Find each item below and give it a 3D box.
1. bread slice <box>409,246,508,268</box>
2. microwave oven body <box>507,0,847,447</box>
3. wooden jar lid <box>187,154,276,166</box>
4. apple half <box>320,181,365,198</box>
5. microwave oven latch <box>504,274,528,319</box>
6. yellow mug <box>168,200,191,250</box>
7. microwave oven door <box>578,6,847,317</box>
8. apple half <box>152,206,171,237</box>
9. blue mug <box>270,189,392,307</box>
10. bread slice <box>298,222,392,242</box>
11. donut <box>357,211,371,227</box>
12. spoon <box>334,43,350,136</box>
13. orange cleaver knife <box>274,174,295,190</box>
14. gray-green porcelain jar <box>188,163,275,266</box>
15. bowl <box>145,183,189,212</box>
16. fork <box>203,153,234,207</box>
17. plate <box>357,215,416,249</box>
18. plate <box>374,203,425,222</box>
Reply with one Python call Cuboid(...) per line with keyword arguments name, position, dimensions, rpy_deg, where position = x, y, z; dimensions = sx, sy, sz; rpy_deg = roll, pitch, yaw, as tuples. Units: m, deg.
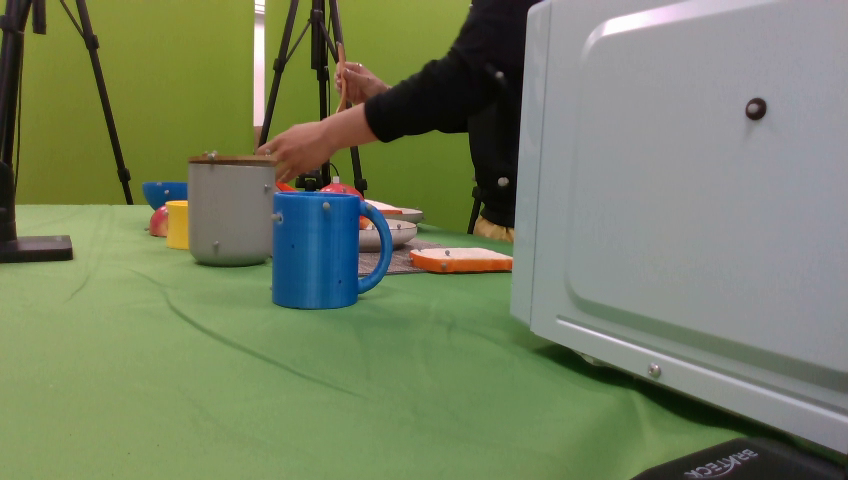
Cuboid(name="bread slice", position=(0.048, 0.021, 0.816), dimensions=(0.132, 0.019, 0.104), rpy_deg=(0, 6, -24))
Cuboid(name="microwave oven body", position=(0.331, -0.042, 0.425), dimensions=(0.444, 0.260, 0.324), rpy_deg=(-2, 8, -31))
Cuboid(name="wooden jar lid", position=(-0.244, -0.097, 0.771), dimensions=(0.108, 0.020, 0.108), rpy_deg=(-1, 7, 0))
Cuboid(name="apple half", position=(-0.130, -0.077, 0.952), dimensions=(0.081, 0.033, 0.081), rpy_deg=(4, 14, -1))
Cuboid(name="microwave oven latch", position=(0.100, 0.041, 0.470), dimensions=(0.079, 0.029, 0.030), rpy_deg=(-1, 7, -27))
Cuboid(name="yellow mug", position=(-0.320, -0.022, 0.904), dimensions=(0.130, 0.064, 0.100), rpy_deg=(9, 10, 36))
Cuboid(name="microwave oven door", position=(0.294, -0.067, 0.570), dimensions=(0.358, 0.243, 0.039), rpy_deg=(-3, 9, -31))
Cuboid(name="apple half", position=(-0.415, -0.034, 1.017), dimensions=(0.081, 0.053, 0.074), rpy_deg=(1, 10, -9))
Cuboid(name="blue mug", position=(-0.090, 0.005, 0.588), dimensions=(0.117, 0.106, 0.082), rpy_deg=(0, 7, -11))
Cuboid(name="bread slice", position=(-0.121, -0.014, 0.970), dimensions=(0.106, 0.018, 0.135), rpy_deg=(11, 11, 41))
Cuboid(name="donut", position=(-0.132, -0.041, 0.959), dimensions=(0.099, 0.048, 0.099), rpy_deg=(3, 8, 0))
Cuboid(name="spoon", position=(-0.164, -0.303, 1.212), dimensions=(0.021, 0.193, 0.042), rpy_deg=(-4, -7, 36))
Cuboid(name="orange cleaver knife", position=(-0.283, -0.087, 1.343), dimensions=(0.212, 0.077, 0.012), rpy_deg=(24, -16, -41))
Cuboid(name="gray-green porcelain jar", position=(-0.246, -0.034, 0.779), dimensions=(0.106, 0.126, 0.106), rpy_deg=(1, 7, 0))
Cuboid(name="bowl", position=(-0.459, -0.069, 1.175), dimensions=(0.151, 0.077, 0.151), rpy_deg=(3, 7, 0))
Cuboid(name="fork", position=(-0.480, -0.135, 1.411), dimensions=(0.028, 0.018, 0.207), rpy_deg=(1, -34, 0))
Cuboid(name="plate", position=(-0.116, -0.014, 0.967), dimensions=(0.208, 0.039, 0.207), rpy_deg=(2, 7, 0))
Cuboid(name="plate", position=(-0.102, -0.053, 1.299), dimensions=(0.209, 0.038, 0.209), rpy_deg=(3, 9, 0))
